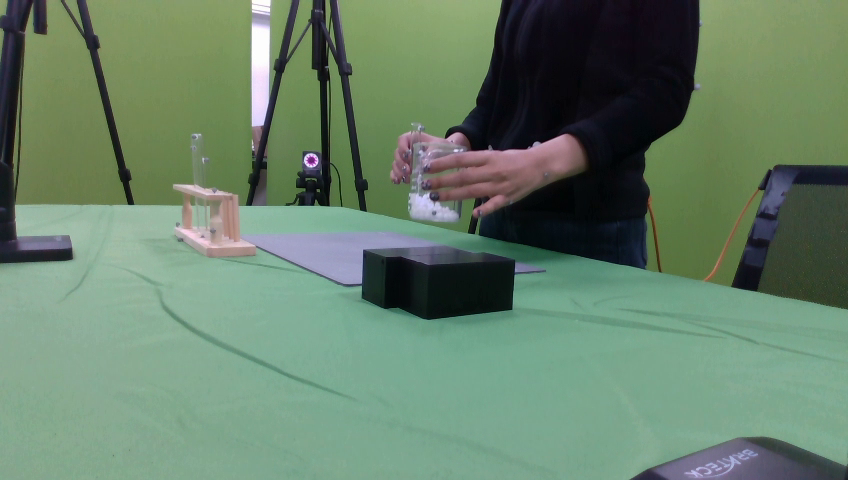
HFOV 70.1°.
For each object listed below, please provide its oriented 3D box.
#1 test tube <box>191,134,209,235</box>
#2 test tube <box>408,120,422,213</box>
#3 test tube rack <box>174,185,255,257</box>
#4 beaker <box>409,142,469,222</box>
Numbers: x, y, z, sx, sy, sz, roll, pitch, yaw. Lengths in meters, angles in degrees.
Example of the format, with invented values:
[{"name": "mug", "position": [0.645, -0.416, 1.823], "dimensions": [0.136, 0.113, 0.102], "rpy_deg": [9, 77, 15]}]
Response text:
[{"name": "test tube", "position": [-0.332, -0.082, 0.897], "dimensions": [0.017, 0.150, 0.017], "rpy_deg": [-2, 6, 0]}, {"name": "test tube", "position": [-0.016, -0.114, 0.952], "dimensions": [0.017, 0.150, 0.017], "rpy_deg": [3, 22, -1]}, {"name": "test tube rack", "position": [-0.324, -0.035, 0.922], "dimensions": [0.067, 0.085, 0.241], "rpy_deg": [-2, 9, -32]}, {"name": "beaker", "position": [0.015, -0.075, 0.804], "dimensions": [0.074, 0.100, 0.083], "rpy_deg": [2, 3, -36]}]
